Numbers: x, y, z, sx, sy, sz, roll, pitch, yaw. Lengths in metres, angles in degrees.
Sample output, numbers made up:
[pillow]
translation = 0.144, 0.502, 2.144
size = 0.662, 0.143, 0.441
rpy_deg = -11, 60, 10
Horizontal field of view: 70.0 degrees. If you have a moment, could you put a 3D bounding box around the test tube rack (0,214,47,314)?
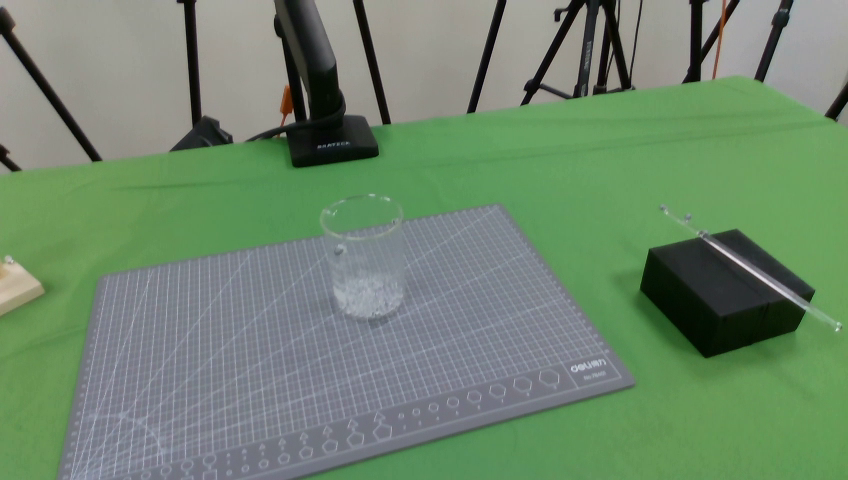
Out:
[test tube rack]
translation = -0.484, 0.061, 0.531
size = 0.066, 0.086, 0.242
rpy_deg = 25, 44, 31

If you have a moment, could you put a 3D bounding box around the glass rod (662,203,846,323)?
[glass rod]
translation = 0.292, 0.014, 0.554
size = 0.008, 0.008, 0.197
rpy_deg = -18, 39, -21

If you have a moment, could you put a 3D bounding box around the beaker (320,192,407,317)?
[beaker]
translation = -0.056, 0.015, 0.567
size = 0.083, 0.101, 0.074
rpy_deg = 21, 41, 28
